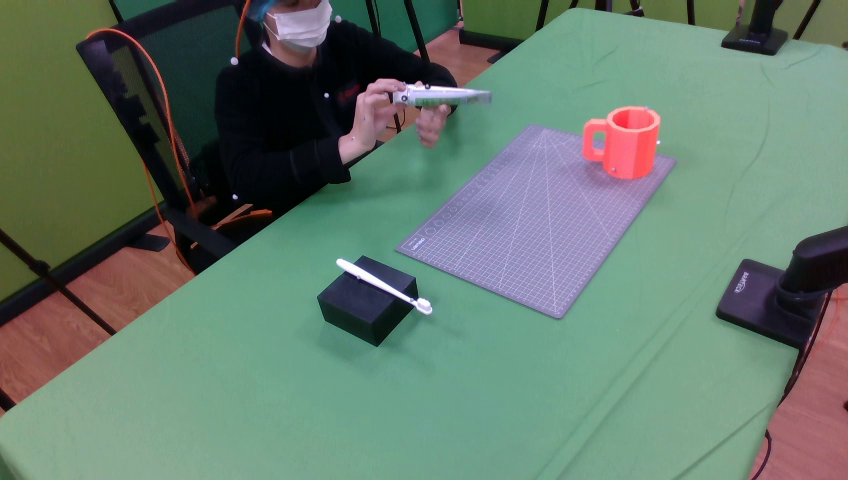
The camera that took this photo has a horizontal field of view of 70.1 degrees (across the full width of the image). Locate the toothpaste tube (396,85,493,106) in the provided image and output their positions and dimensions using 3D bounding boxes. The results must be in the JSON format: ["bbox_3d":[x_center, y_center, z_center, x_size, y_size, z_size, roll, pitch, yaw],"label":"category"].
[{"bbox_3d":[0.032,-0.246,1.024,0.165,0.034,0.055,0,0,0],"label":"toothpaste tube"}]

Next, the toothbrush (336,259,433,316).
[{"bbox_3d":[-0.059,0.062,0.839,0.180,0.017,0.014,24,54,33],"label":"toothbrush"}]

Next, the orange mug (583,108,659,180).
[{"bbox_3d":[0.343,-0.171,1.061,0.126,0.101,0.083,10,43,15],"label":"orange mug"}]

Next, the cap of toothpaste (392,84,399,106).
[{"bbox_3d":[-0.047,-0.246,1.027,0.011,0.037,0.037,-1,40,0],"label":"cap of toothpaste"}]
